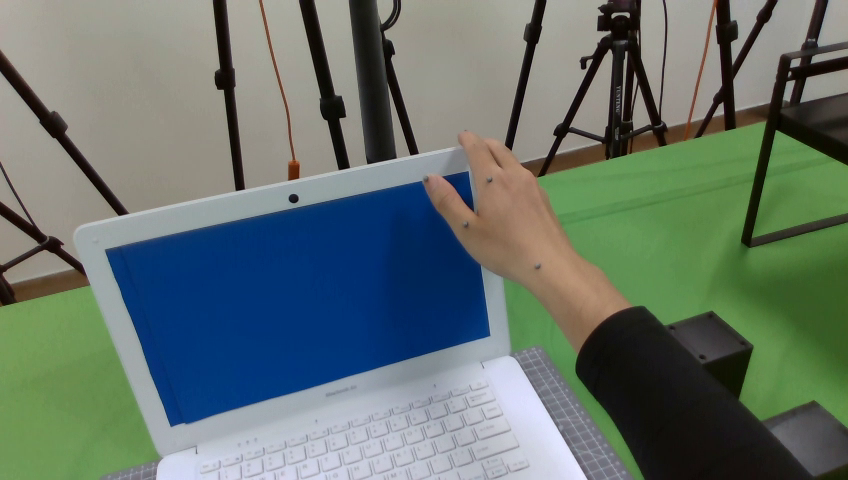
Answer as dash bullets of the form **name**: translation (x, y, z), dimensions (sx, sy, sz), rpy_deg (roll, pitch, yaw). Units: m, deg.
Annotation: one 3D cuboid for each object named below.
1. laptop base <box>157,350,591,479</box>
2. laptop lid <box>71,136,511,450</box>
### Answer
- **laptop base**: translation (-0.043, 0.220, 0.503), dimensions (0.355, 0.023, 0.233), rpy_deg (-14, 37, -11)
- **laptop lid**: translation (-0.096, 0.052, 0.554), dimensions (0.357, 0.243, 0.013), rpy_deg (-15, 24, -10)
